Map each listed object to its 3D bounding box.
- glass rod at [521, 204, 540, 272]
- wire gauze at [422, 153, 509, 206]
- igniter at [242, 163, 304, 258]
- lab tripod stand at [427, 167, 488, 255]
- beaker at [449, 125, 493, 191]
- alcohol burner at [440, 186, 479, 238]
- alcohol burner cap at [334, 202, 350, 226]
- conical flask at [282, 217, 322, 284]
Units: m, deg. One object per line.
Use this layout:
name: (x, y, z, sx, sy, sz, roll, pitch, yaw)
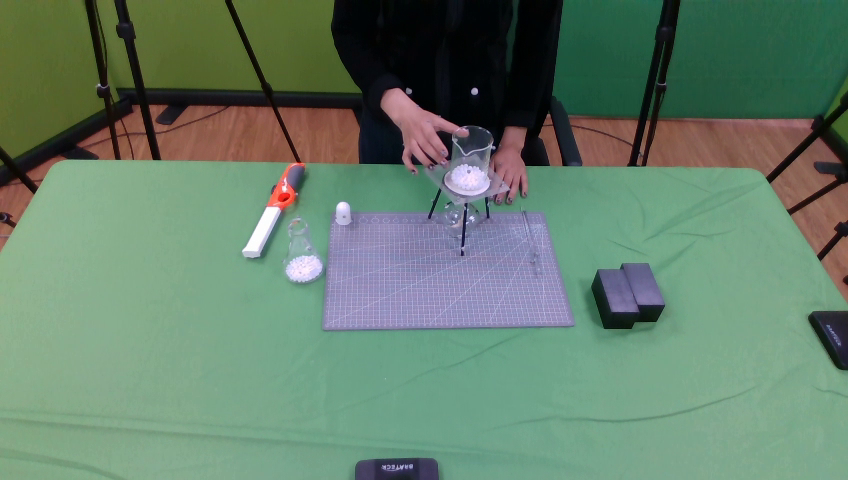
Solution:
glass rod: (0.214, -0.008, 1.230, 0.008, 0.008, 0.198, 0, 43, -3)
wire gauze: (0.078, -0.114, 1.144, 0.125, 0.011, 0.120, -21, 49, -20)
igniter: (-0.305, -0.069, 1.239, 0.057, 0.025, 0.275, 2, 45, 12)
lab tripod stand: (0.076, -0.068, 1.191, 0.148, 0.132, 0.147, 2, 44, -2)
beaker: (0.083, -0.146, 1.108, 0.074, 0.101, 0.083, 15, 47, 11)
alcohol burner: (0.072, -0.062, 1.198, 0.078, 0.119, 0.077, 3, 47, -3)
alcohol burner cap: (-0.166, -0.055, 1.223, 0.034, 0.048, 0.033, 2, 45, -2)
conical flask: (-0.225, 0.016, 1.097, 0.075, 0.122, 0.075, 3, 46, -2)
